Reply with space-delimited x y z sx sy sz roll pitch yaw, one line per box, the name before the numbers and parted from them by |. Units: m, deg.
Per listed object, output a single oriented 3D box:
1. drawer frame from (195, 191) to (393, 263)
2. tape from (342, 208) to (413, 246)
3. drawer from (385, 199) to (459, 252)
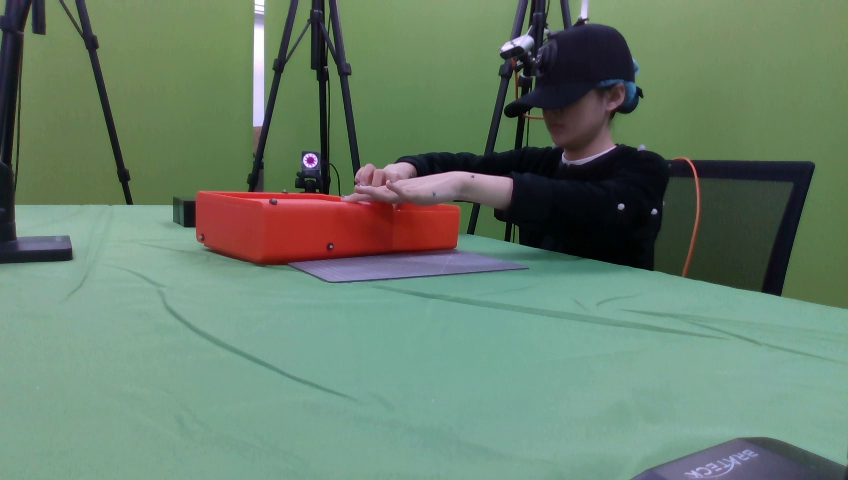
drawer frame | -0.189 -0.025 0.883 0.215 0.082 0.200 -4 11 -44
tape | -0.078 -0.022 0.996 0.117 0.052 0.117 4 5 0
drawer | -0.085 -0.027 0.980 0.213 0.073 0.193 -2 10 -42
